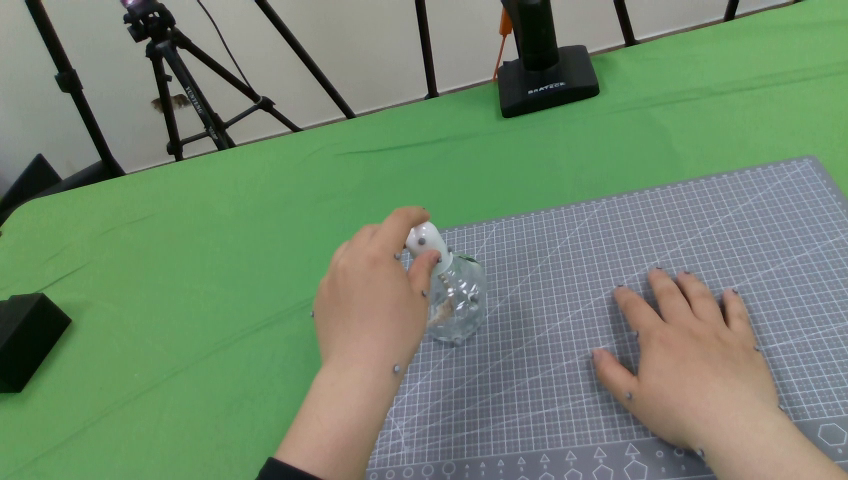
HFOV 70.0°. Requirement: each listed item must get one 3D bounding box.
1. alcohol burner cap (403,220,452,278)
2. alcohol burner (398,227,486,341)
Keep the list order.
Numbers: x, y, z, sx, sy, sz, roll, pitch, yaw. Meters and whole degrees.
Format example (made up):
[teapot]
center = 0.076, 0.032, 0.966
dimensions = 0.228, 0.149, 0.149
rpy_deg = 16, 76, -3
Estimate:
[alcohol burner cap]
center = 0.001, 0.004, 0.480
dimensions = 0.034, 0.048, 0.033
rpy_deg = -12, 47, 14
[alcohol burner]
center = 0.011, 0.030, 0.504
dimensions = 0.078, 0.120, 0.077
rpy_deg = -11, 42, 10
